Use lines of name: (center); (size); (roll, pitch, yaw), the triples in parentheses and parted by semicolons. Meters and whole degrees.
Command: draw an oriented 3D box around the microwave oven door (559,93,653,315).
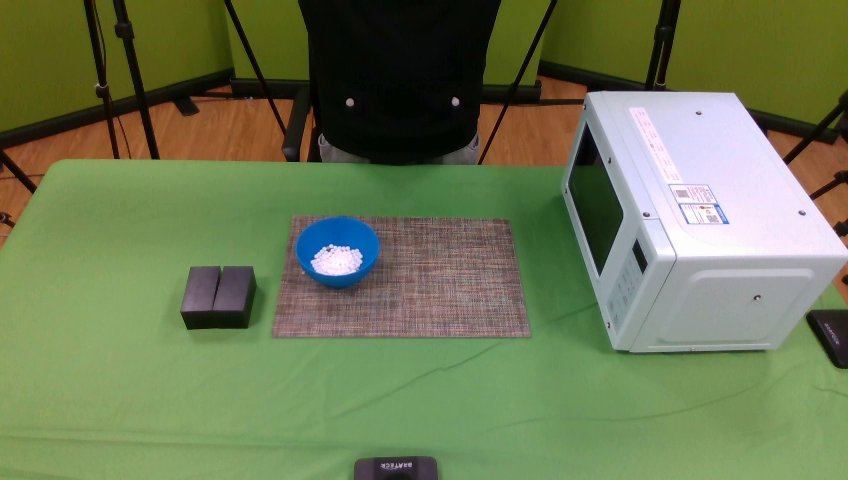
microwave oven door: (0.327, -0.074, 1.123); (0.039, 0.245, 0.353); (-1, 46, -5)

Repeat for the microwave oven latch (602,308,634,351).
microwave oven latch: (0.332, 0.153, 1.044); (0.030, 0.029, 0.078); (-1, 45, -4)

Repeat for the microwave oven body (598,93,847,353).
microwave oven body: (0.475, -0.041, 1.109); (0.326, 0.261, 0.438); (-1, 45, -4)

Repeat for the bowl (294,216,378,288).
bowl: (-0.158, 0.036, 1.110); (0.151, 0.077, 0.150); (3, 45, -2)
